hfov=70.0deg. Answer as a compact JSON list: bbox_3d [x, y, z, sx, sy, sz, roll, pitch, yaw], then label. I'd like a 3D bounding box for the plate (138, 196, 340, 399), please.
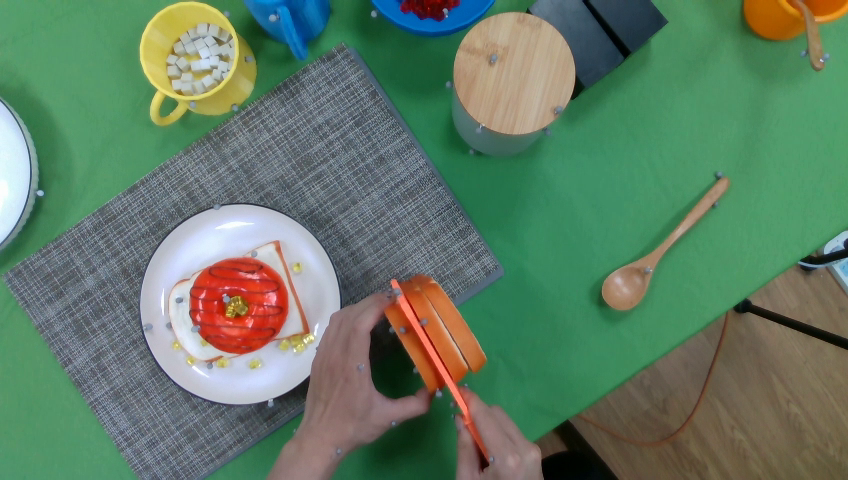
[{"bbox_3d":[-0.189,0.059,0.637,0.209,0.038,0.209,0,89,0],"label":"plate"}]

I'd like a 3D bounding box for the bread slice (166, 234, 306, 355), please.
[{"bbox_3d":[-0.202,0.065,0.640,0.131,0.019,0.105,-22,88,-4],"label":"bread slice"}]

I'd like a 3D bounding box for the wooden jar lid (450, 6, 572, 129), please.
[{"bbox_3d":[0.076,-0.151,0.539,0.108,0.020,0.108,0,90,-4],"label":"wooden jar lid"}]

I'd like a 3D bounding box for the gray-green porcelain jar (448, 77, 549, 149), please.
[{"bbox_3d":[0.078,-0.149,0.601,0.106,0.126,0.105,0,89,0],"label":"gray-green porcelain jar"}]

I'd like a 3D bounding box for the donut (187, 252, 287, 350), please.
[{"bbox_3d":[-0.187,0.061,0.609,0.099,0.048,0.099,0,90,-4],"label":"donut"}]

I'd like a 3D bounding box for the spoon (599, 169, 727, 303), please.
[{"bbox_3d":[0.261,-0.006,0.652,0.193,0.022,0.041,-46,71,-1],"label":"spoon"}]

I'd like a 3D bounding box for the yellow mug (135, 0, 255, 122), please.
[{"bbox_3d":[-0.244,-0.178,0.629,0.100,0.064,0.131,34,90,1],"label":"yellow mug"}]

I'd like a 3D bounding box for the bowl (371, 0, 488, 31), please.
[{"bbox_3d":[0.006,-0.281,0.626,0.151,0.077,0.151,0,90,0],"label":"bowl"}]

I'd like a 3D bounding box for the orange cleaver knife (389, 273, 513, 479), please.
[{"bbox_3d":[0.023,0.124,0.553,0.012,0.077,0.212,-30,99,-1],"label":"orange cleaver knife"}]

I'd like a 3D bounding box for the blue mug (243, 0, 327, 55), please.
[{"bbox_3d":[-0.143,-0.246,0.611,0.082,0.106,0.116,-14,89,0],"label":"blue mug"}]

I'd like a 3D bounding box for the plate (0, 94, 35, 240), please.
[{"bbox_3d":[-0.512,-0.076,0.640,0.208,0.039,0.207,0,89,0],"label":"plate"}]

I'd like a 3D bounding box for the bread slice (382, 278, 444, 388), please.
[{"bbox_3d":[-0.010,0.089,0.597,0.018,0.134,0.107,-29,89,2],"label":"bread slice"}]

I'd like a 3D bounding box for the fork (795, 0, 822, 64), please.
[{"bbox_3d":[0.367,-0.226,0.592,0.028,0.019,0.206,28,45,-6],"label":"fork"}]
